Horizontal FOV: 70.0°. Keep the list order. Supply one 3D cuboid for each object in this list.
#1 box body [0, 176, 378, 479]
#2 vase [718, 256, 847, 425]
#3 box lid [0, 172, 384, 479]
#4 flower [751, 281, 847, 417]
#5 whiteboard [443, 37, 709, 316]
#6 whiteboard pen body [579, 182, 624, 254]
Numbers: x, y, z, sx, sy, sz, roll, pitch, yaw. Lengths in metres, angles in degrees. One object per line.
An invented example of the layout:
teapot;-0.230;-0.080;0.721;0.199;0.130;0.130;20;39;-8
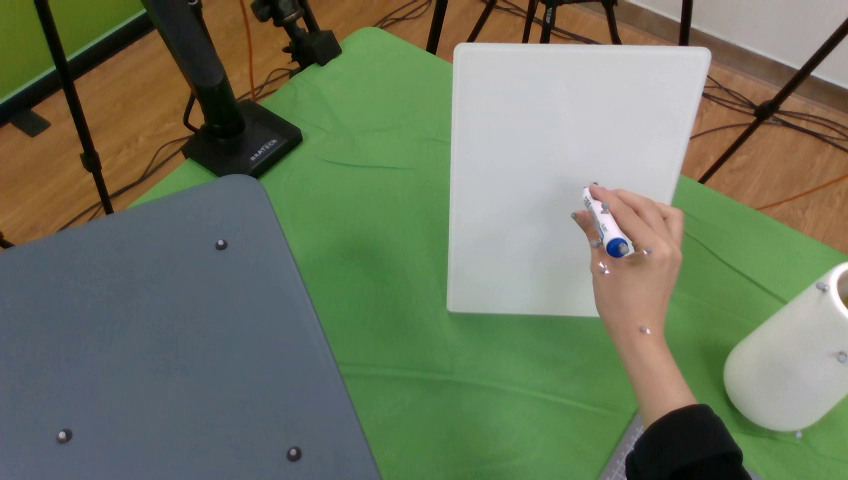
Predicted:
box body;-0.208;0.151;0.538;0.254;0.162;0.360;-22;59;-14
vase;0.349;0.095;0.554;0.098;0.202;0.097;0;54;1
box lid;-0.209;0.107;0.478;0.263;0.015;0.367;-21;59;-14
flower;0.350;0.035;0.493;0.044;0.364;0.038;26;42;21
whiteboard;0.133;-0.081;0.646;0.217;0.308;0.142;2;37;2
whiteboard pen body;0.141;-0.024;0.495;0.017;0.017;0.140;3;24;3
